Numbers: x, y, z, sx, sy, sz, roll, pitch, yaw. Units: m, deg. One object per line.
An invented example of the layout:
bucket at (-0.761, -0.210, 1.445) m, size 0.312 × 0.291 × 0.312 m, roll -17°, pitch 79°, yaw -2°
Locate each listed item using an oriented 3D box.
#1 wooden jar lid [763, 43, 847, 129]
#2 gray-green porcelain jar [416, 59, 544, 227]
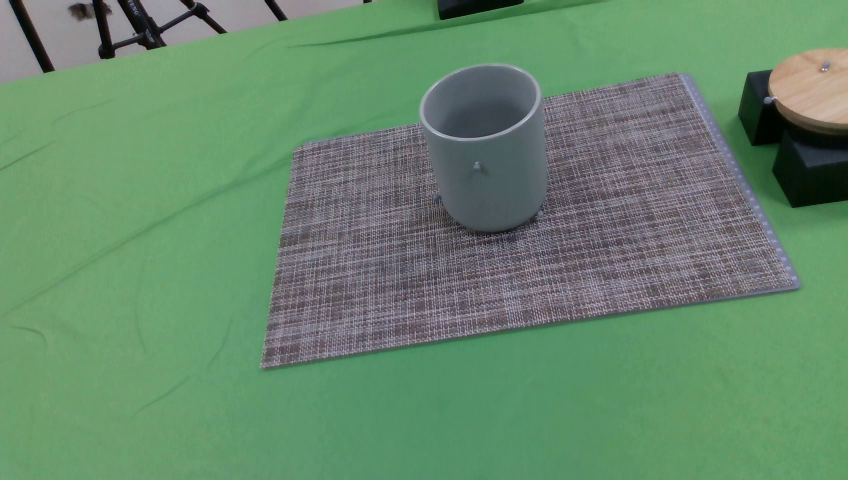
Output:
wooden jar lid at (0.358, -0.135, 0.532) m, size 0.108 × 0.021 × 0.107 m, roll -7°, pitch 51°, yaw 9°
gray-green porcelain jar at (0.056, -0.083, 0.557) m, size 0.106 × 0.128 × 0.105 m, roll -7°, pitch 49°, yaw 9°
